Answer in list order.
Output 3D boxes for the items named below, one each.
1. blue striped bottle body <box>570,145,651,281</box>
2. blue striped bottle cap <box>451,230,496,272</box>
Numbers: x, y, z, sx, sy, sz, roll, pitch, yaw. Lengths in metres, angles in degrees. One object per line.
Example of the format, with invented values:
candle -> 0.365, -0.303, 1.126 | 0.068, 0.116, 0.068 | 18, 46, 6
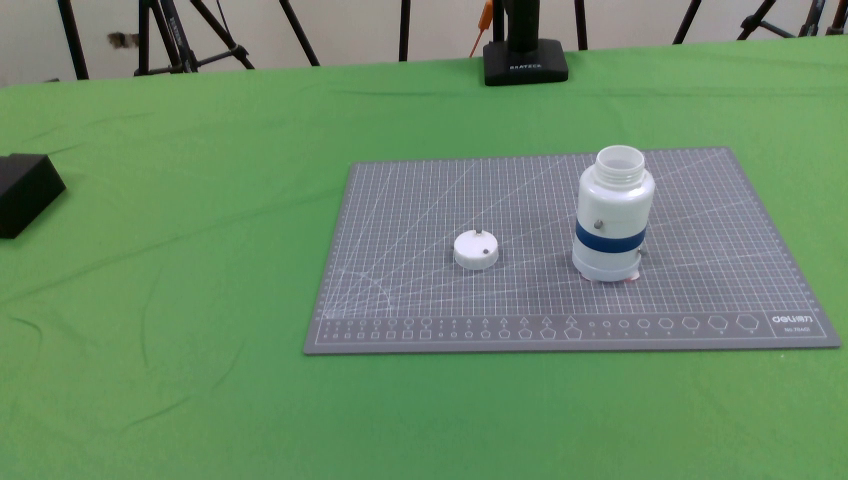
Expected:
blue striped bottle body -> 0.167, -0.025, 0.546 | 0.063, 0.122, 0.062 | -3, 42, 3
blue striped bottle cap -> 0.049, 0.010, 0.601 | 0.044, 0.021, 0.044 | -2, 40, 2
